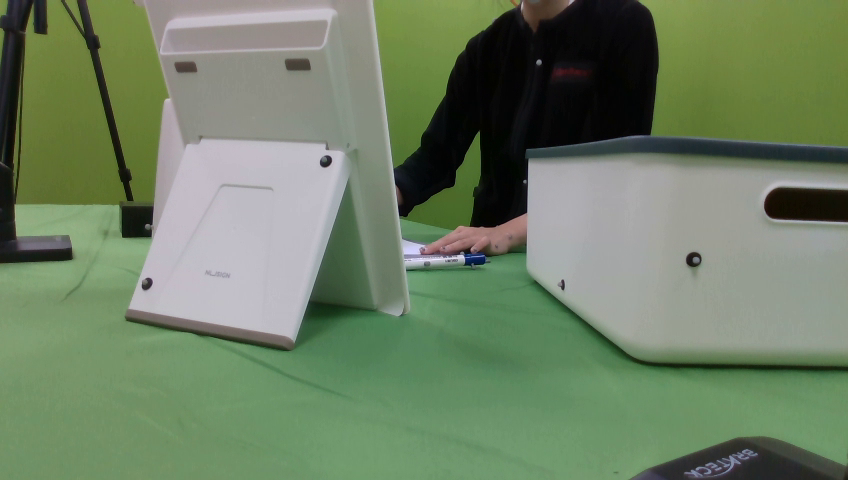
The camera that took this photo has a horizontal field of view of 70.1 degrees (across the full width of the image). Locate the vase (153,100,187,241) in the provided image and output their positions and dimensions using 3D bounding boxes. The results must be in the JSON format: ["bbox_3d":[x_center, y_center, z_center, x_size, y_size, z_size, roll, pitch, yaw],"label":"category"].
[{"bbox_3d":[-0.278,-0.066,0.736,0.098,0.200,0.098,2,9,0],"label":"vase"}]

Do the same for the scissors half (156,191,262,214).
[{"bbox_3d":[-0.371,-0.069,1.051,0.176,0.040,0.013,2,26,-24],"label":"scissors half"}]

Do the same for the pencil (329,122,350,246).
[{"bbox_3d":[-0.130,-0.087,0.942,0.012,0.194,0.012,-7,4,1],"label":"pencil"}]

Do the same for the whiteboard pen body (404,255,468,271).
[{"bbox_3d":[0.013,0.030,0.792,0.141,0.017,0.017,-3,9,-24],"label":"whiteboard pen body"}]

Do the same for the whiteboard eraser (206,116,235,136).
[{"bbox_3d":[-0.450,-0.252,1.335,0.056,0.042,0.112,1,7,-22],"label":"whiteboard eraser"}]

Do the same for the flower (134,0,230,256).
[{"bbox_3d":[-0.282,-0.147,0.713,0.038,0.362,0.044,-23,24,-31],"label":"flower"}]

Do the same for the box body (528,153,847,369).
[{"bbox_3d":[0.258,-0.005,0.591,0.254,0.160,0.363,2,7,-4],"label":"box body"}]

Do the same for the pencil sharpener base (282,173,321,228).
[{"bbox_3d":[-0.247,-0.080,1.212,0.061,0.107,0.076,-2,5,-28],"label":"pencil sharpener base"}]

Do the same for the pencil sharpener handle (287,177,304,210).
[{"bbox_3d":[-0.269,-0.096,1.257,0.036,0.067,0.030,-8,8,-27],"label":"pencil sharpener handle"}]

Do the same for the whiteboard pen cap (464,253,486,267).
[{"bbox_3d":[0.066,0.027,0.818,0.033,0.018,0.018,-5,10,-24],"label":"whiteboard pen cap"}]

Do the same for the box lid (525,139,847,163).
[{"bbox_3d":[0.261,-0.078,0.580,0.264,0.015,0.371,2,7,-4],"label":"box lid"}]

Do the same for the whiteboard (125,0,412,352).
[{"bbox_3d":[-0.151,-0.049,0.472,0.216,0.305,0.144,6,27,24],"label":"whiteboard"}]

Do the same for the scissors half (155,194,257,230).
[{"bbox_3d":[-0.378,-0.051,1.059,0.176,0.040,0.012,20,23,-31],"label":"scissors half"}]
